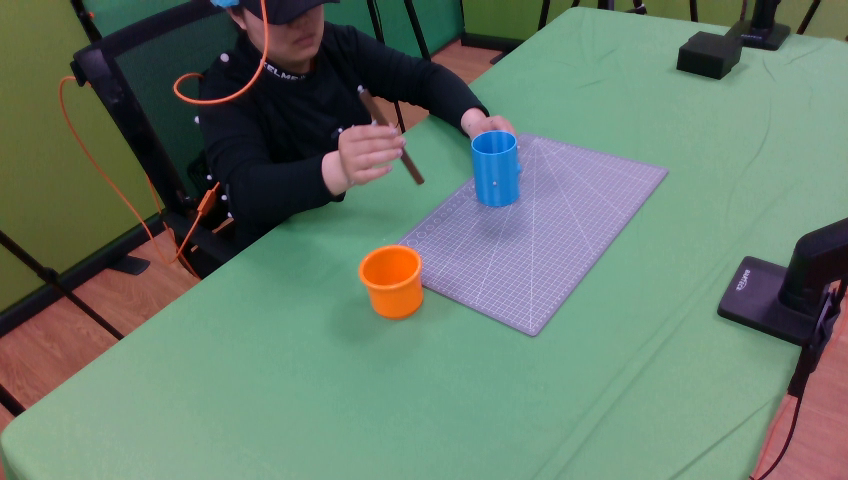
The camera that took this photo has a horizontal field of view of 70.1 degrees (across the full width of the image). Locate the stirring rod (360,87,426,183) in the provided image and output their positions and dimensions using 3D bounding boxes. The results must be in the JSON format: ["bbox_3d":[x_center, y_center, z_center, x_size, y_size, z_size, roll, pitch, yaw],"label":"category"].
[{"bbox_3d":[-0.041,-0.144,0.853,0.014,0.177,0.006,-30,40,6],"label":"stirring rod"}]

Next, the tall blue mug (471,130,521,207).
[{"bbox_3d":[0.120,-0.131,1.044,0.078,0.108,0.106,-16,40,-7],"label":"tall blue mug"}]
